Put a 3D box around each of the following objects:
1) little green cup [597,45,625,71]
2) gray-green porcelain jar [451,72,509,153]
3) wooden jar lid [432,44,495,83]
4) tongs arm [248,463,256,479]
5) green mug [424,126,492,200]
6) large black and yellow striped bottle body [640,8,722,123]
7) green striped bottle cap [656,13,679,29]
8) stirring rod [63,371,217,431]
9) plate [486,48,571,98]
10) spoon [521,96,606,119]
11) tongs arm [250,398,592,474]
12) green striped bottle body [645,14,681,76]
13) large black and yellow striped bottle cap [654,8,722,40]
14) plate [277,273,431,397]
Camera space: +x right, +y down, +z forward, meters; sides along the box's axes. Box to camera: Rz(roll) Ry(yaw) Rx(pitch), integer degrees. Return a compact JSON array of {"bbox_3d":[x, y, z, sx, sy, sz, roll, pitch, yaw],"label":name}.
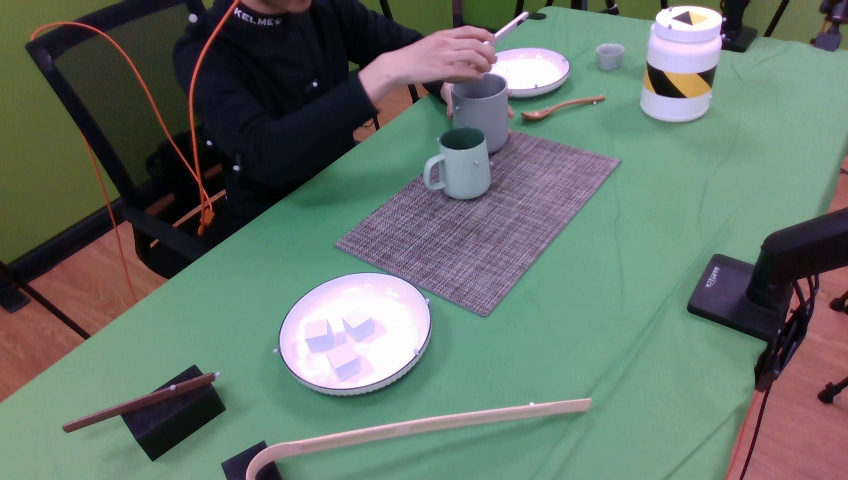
[{"bbox_3d":[0.423,-0.413,1.375,0.061,0.039,0.061,-3,41,4],"label":"little green cup"},{"bbox_3d":[0.107,-0.235,1.141,0.106,0.127,0.105,-4,41,4],"label":"gray-green porcelain jar"},{"bbox_3d":[0.068,-0.297,1.023,0.108,0.021,0.108,-14,37,11],"label":"wooden jar lid"},{"bbox_3d":[0.012,0.262,0.615,0.385,0.026,0.050,3,41,-2],"label":"tongs arm"},{"bbox_3d":[0.056,-0.126,1.039,0.126,0.105,0.091,-26,44,-19],"label":"green mug"},{"bbox_3d":[0.493,-0.334,1.161,0.131,0.185,0.130,-4,41,4],"label":"large black and yellow striped bottle body"},{"bbox_3d":[0.515,-0.463,1.278,0.044,0.020,0.044,-6,42,6],"label":"green striped bottle cap"},{"bbox_3d":[-0.337,0.192,0.723,0.177,0.014,0.005,-18,43,-12],"label":"stirring rod"},{"bbox_3d":[0.223,-0.371,1.357,0.209,0.038,0.208,-4,41,4],"label":"plate"},{"bbox_3d":[0.291,-0.277,1.249,0.194,0.022,0.041,-17,26,-11],"label":"spoon"},{"bbox_3d":[0.008,0.212,0.675,0.389,0.028,0.028,-5,45,-11],"label":"tongs arm"},{"bbox_3d":[0.520,-0.424,1.312,0.063,0.120,0.063,-4,41,4],"label":"green striped bottle body"},{"bbox_3d":[0.483,-0.397,1.108,0.115,0.019,0.114,-3,41,3],"label":"large black and yellow striped bottle cap"},{"bbox_3d":[-0.091,0.129,0.821,0.207,0.039,0.206,-4,40,4],"label":"plate"}]
